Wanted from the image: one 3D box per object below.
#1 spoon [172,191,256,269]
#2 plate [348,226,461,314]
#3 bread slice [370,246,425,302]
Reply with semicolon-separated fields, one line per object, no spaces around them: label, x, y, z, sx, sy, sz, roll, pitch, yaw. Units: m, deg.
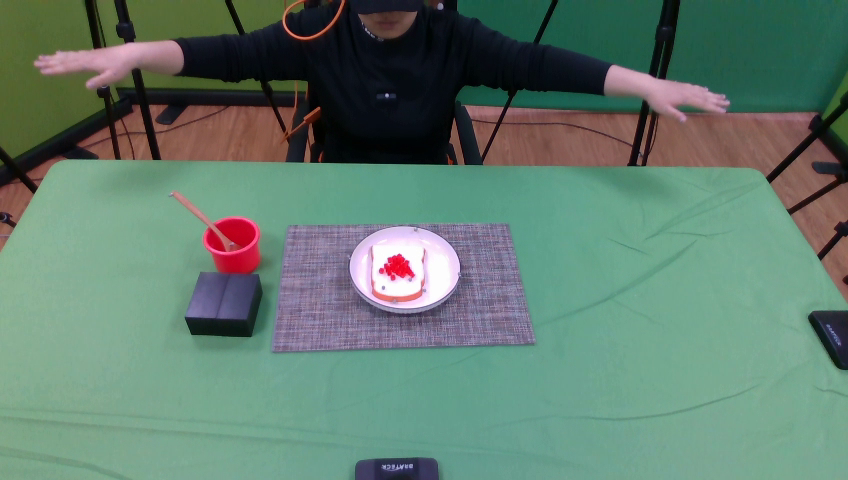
spoon;-0.382;-0.019;1.104;0.194;0.021;0.041;50;48;-17
plate;-0.035;0.058;1.123;0.209;0.038;0.208;2;46;-2
bread slice;-0.048;0.060;1.123;0.105;0.019;0.130;0;45;-3
